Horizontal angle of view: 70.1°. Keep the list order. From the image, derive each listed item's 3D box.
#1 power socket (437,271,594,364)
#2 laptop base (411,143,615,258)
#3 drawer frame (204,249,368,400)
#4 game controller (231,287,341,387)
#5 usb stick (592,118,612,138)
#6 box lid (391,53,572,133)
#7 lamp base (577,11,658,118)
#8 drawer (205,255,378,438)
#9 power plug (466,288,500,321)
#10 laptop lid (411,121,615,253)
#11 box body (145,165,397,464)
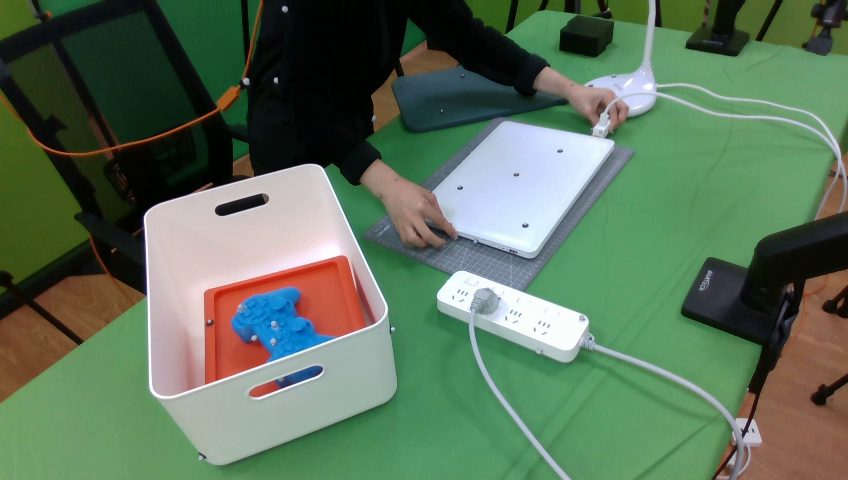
[{"bbox_3d":[0.118,0.102,0.830,0.225,0.033,0.072,20,48,28],"label":"power socket"},{"bbox_3d":[0.167,-0.102,1.074,0.234,0.023,0.355,16,45,30],"label":"laptop base"},{"bbox_3d":[-0.174,0.129,0.790,0.202,0.083,0.212,-16,45,-8],"label":"drawer frame"},{"bbox_3d":[-0.167,0.110,0.734,0.097,0.052,0.154,-34,47,-22],"label":"game controller"},{"bbox_3d":[0.338,-0.208,1.157,0.021,0.027,0.059,23,50,23],"label":"usb stick"},{"bbox_3d":[0.123,-0.339,1.366,0.372,0.015,0.261,-12,40,-5],"label":"box lid"},{"bbox_3d":[0.406,-0.364,1.222,0.180,0.181,0.159,-20,42,-18],"label":"lamp base"},{"bbox_3d":[-0.177,0.130,0.787,0.195,0.073,0.210,-14,39,-9],"label":"drawer"},{"bbox_3d":[0.072,0.093,0.813,0.035,0.053,0.073,30,54,35],"label":"power plug"},{"bbox_3d":[0.164,-0.112,1.068,0.240,0.013,0.357,19,46,31],"label":"laptop lid"},{"bbox_3d":[-0.205,0.080,0.802,0.255,0.161,0.361,-18,41,-13],"label":"box body"}]
